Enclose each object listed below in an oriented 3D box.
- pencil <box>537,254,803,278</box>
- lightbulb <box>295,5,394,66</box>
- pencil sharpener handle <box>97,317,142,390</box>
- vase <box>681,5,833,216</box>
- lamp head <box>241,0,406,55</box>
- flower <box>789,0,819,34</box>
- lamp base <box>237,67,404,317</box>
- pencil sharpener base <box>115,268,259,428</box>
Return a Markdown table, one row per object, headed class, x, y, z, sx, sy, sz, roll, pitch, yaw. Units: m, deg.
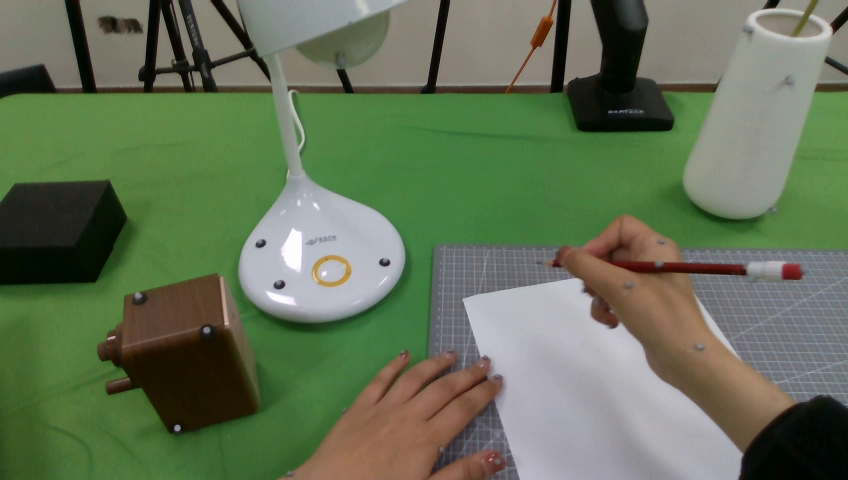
| class | x | y | z | sx | sy | sz | roll | pitch | yaw |
| --- | --- | --- | --- | --- | --- | --- | --- | --- | --- |
| pencil | 0.153 | 0.016 | 0.417 | 0.012 | 0.012 | 0.193 | -38 | 24 | -33 |
| lightbulb | -0.051 | -0.149 | 0.324 | 0.059 | 0.108 | 0.059 | -11 | 20 | 4 |
| pencil sharpener handle | -0.224 | 0.086 | 0.438 | 0.031 | 0.068 | 0.035 | -14 | 48 | -12 |
| vase | 0.323 | -0.121 | 0.598 | 0.098 | 0.202 | 0.097 | -2 | 42 | 2 |
| lamp head | -0.060 | -0.173 | 0.321 | 0.112 | 0.123 | 0.111 | -21 | 18 | 8 |
| flower | 0.314 | -0.167 | 0.527 | 0.038 | 0.364 | 0.043 | -41 | 68 | -18 |
| lamp base | -0.108 | -0.050 | 0.547 | 0.161 | 0.182 | 0.177 | -21 | 44 | -20 |
| pencil sharpener base | -0.175 | 0.084 | 0.457 | 0.077 | 0.108 | 0.060 | -14 | 45 | -12 |
